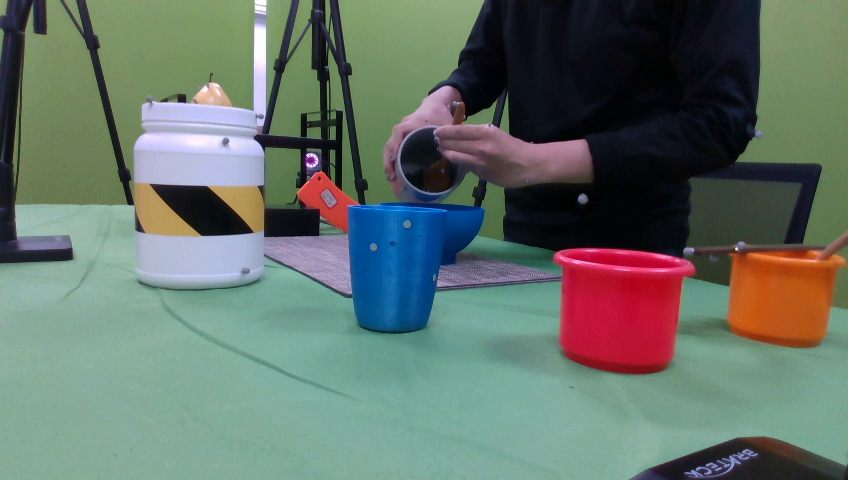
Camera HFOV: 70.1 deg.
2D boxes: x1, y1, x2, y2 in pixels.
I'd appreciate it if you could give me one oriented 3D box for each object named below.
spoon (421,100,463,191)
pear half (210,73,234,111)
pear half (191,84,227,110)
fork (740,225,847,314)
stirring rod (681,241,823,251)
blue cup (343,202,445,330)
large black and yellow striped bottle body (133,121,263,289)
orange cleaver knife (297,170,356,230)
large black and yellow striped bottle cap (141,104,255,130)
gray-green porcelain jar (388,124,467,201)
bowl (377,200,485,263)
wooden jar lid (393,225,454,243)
[{"bbox_3d":[0.031,-0.132,0.879,0.042,0.021,0.193,13,-31,-6],"label":"spoon"},{"bbox_3d":[-0.402,-0.262,1.162,0.076,0.109,0.056,6,7,2],"label":"pear half"},{"bbox_3d":[-0.406,-0.248,1.128,0.070,0.088,0.031,5,7,2],"label":"pear half"},{"bbox_3d":[0.323,0.013,0.485,0.028,0.018,0.207,9,-38,-5],"label":"fork"},{"bbox_3d":[0.289,0.005,0.525,0.177,0.006,0.014,-1,5,-26],"label":"stirring rod"},{"bbox_3d":[-0.027,0.021,0.510,0.093,0.100,0.092,3,5,0],"label":"blue cup"},{"bbox_3d":[-0.243,-0.048,0.659,0.131,0.184,0.130,2,7,0],"label":"large black and yellow striped bottle body"},{"bbox_3d":[-0.149,-0.058,1.170,0.212,0.077,0.012,33,-15,-32],"label":"orange cleaver knife"},{"bbox_3d":[-0.241,-0.131,0.650,0.115,0.019,0.115,3,8,0],"label":"large black and yellow striped bottle cap"},{"bbox_3d":[0.001,-0.109,0.933,0.106,0.105,0.126,1,-8,-11],"label":"gray-green porcelain jar"},{"bbox_3d":[0.008,-0.012,0.842,0.151,0.077,0.151,2,7,0],"label":"bowl"},{"bbox_3d":[-0.001,-0.011,1.058,0.108,0.020,0.108,8,5,0],"label":"wooden jar lid"}]
